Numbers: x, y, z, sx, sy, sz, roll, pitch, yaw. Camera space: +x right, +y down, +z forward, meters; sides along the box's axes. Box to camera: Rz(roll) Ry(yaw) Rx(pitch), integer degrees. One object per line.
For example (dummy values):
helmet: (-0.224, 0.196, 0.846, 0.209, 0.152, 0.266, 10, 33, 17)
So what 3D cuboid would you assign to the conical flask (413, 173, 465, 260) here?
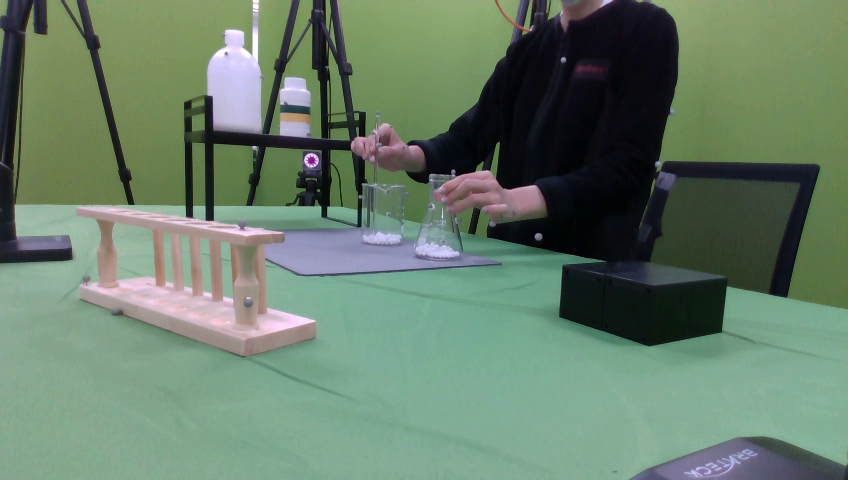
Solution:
conical flask: (0.024, -0.034, 0.868, 0.075, 0.122, 0.075, 2, 7, 0)

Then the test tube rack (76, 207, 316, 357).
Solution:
test tube rack: (-0.196, 0.023, 0.500, 0.241, 0.085, 0.067, 8, 9, 36)

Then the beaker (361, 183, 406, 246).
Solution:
beaker: (-0.067, -0.042, 0.993, 0.074, 0.100, 0.084, 1, 8, -8)

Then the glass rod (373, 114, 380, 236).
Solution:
glass rod: (-0.078, -0.105, 0.987, 0.008, 0.199, 0.008, 1, 3, 0)

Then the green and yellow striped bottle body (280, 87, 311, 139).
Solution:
green and yellow striped bottle body: (-0.269, -0.274, 1.266, 0.063, 0.119, 0.063, 3, 7, 0)

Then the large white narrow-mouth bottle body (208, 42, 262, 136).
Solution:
large white narrow-mouth bottle body: (-0.368, -0.304, 1.181, 0.102, 0.194, 0.101, 2, 9, 0)

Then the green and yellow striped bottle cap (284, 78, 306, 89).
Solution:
green and yellow striped bottle cap: (-0.268, -0.325, 1.259, 0.045, 0.020, 0.045, 5, 7, 0)

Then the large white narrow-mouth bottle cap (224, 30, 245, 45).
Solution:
large white narrow-mouth bottle cap: (-0.365, -0.389, 1.166, 0.038, 0.024, 0.037, 2, 9, 0)
